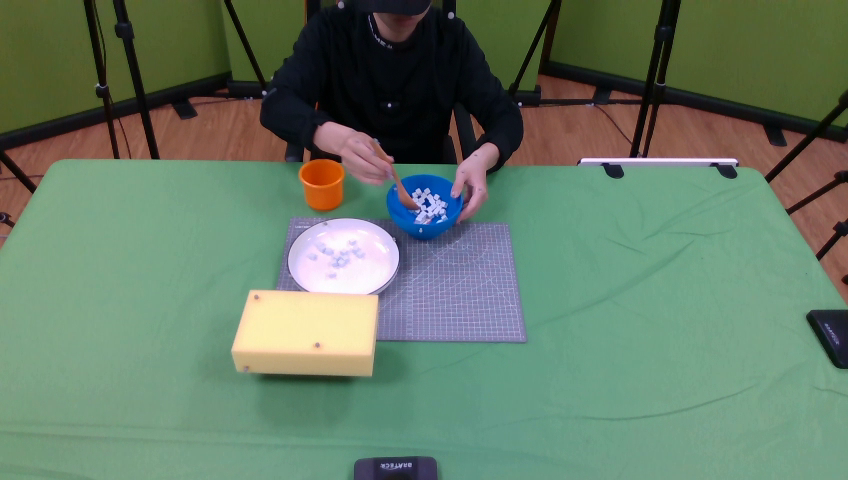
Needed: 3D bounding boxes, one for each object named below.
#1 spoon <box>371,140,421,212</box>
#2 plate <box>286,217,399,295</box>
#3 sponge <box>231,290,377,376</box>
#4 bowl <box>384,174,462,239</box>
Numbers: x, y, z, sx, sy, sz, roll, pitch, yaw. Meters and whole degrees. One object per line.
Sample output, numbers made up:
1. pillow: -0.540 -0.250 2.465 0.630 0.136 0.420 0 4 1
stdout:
1. spoon: -0.053 -0.113 1.106 0.041 0.195 0.021 13 57 36
2. plate: -0.150 0.041 1.131 0.209 0.038 0.208 2 46 -2
3. sponge: -0.180 0.144 0.949 0.207 0.061 0.117 2 46 -2
4. bowl: -0.002 -0.054 1.196 0.151 0.077 0.150 1 45 0
